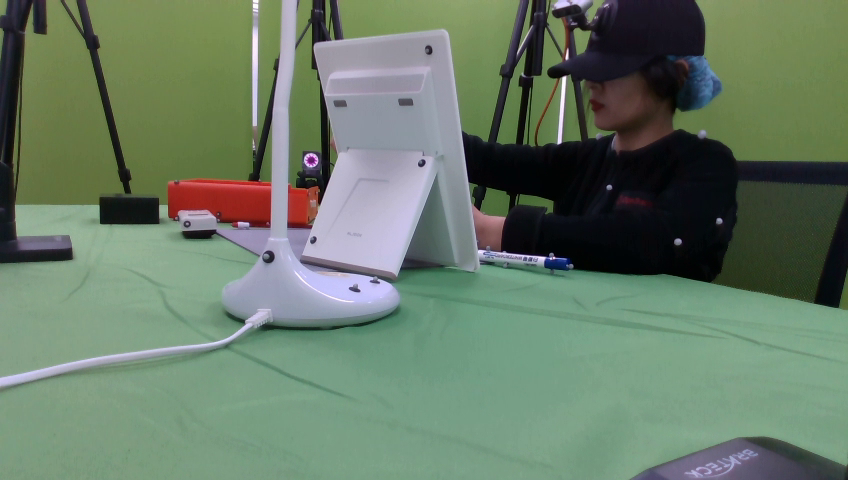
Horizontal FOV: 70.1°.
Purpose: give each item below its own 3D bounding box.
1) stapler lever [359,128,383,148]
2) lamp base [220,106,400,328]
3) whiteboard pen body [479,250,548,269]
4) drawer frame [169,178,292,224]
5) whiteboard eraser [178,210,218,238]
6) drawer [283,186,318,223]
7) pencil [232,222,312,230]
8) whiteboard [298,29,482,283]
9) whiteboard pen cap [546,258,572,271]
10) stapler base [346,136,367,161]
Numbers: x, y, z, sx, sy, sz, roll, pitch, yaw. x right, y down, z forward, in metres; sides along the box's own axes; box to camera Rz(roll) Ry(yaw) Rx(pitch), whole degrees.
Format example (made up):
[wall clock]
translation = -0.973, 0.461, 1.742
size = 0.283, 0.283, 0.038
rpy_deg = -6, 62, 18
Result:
[stapler lever]
translation = -0.095, -0.181, 1.075
size = 0.040, 0.027, 0.118
rpy_deg = -31, 13, 2
[lamp base]
translation = -0.101, -0.023, 0.531
size = 0.160, 0.180, 0.179
rpy_deg = 4, 10, 10
[whiteboard pen body]
translation = 0.129, 0.028, 0.827
size = 0.140, 0.017, 0.017
rpy_deg = 6, 8, 39
[drawer frame]
translation = -0.406, -0.087, 1.304
size = 0.214, 0.082, 0.201
rpy_deg = 1, 8, -5
[whiteboard eraser]
translation = -0.380, -0.027, 1.014
size = 0.056, 0.042, 0.112
rpy_deg = 0, 8, -25
[drawer]
translation = -0.342, -0.083, 1.309
size = 0.212, 0.073, 0.194
rpy_deg = 2, 8, -4
[pencil]
translation = -0.261, -0.025, 1.140
size = 0.195, 0.012, 0.012
rpy_deg = 2, 7, -26
[whiteboard]
translation = -0.075, -0.082, 0.742
size = 0.216, 0.305, 0.144
rpy_deg = 9, 29, 37
[whiteboard pen cap]
translation = 0.175, 0.032, 0.790
size = 0.033, 0.018, 0.018
rpy_deg = 3, 6, 37
[stapler base]
translation = -0.116, -0.167, 1.074
size = 0.024, 0.041, 0.130
rpy_deg = -31, 13, 2
